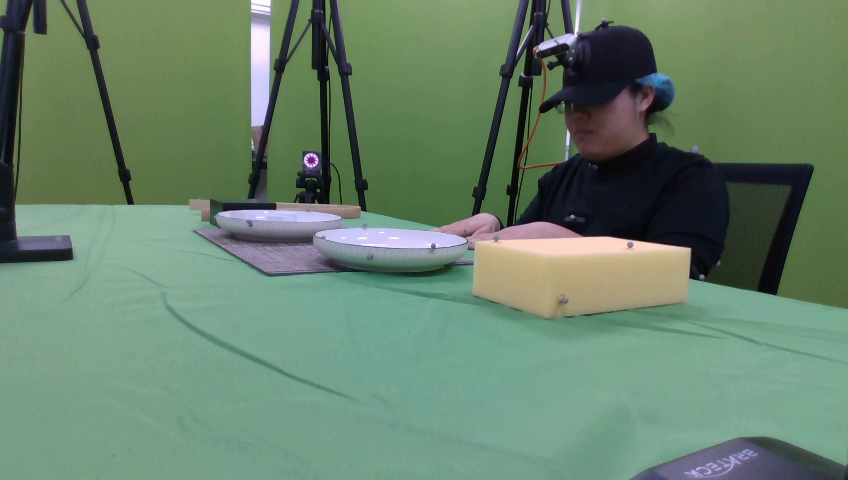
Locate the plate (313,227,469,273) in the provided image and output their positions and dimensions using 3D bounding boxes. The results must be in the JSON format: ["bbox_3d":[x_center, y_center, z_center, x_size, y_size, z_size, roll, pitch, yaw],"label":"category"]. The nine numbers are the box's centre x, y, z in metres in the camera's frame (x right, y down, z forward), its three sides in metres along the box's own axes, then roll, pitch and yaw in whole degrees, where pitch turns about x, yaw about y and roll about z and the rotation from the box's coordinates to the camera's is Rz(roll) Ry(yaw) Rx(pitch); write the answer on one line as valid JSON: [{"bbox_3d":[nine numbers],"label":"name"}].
[{"bbox_3d":[-0.044,0.012,0.808,0.209,0.038,0.209,2,7,0],"label":"plate"}]

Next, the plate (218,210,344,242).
[{"bbox_3d":[-0.241,-0.024,1.026,0.208,0.039,0.207,3,7,0],"label":"plate"}]

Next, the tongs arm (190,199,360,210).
[{"bbox_3d":[-0.341,-0.075,1.419,0.387,0.026,0.050,0,8,-25],"label":"tongs arm"}]

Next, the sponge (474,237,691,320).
[{"bbox_3d":[0.170,0.034,0.644,0.208,0.061,0.117,-2,7,-33],"label":"sponge"}]

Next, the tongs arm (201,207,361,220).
[{"bbox_3d":[-0.301,-0.060,1.350,0.390,0.028,0.028,-3,7,-38],"label":"tongs arm"}]
